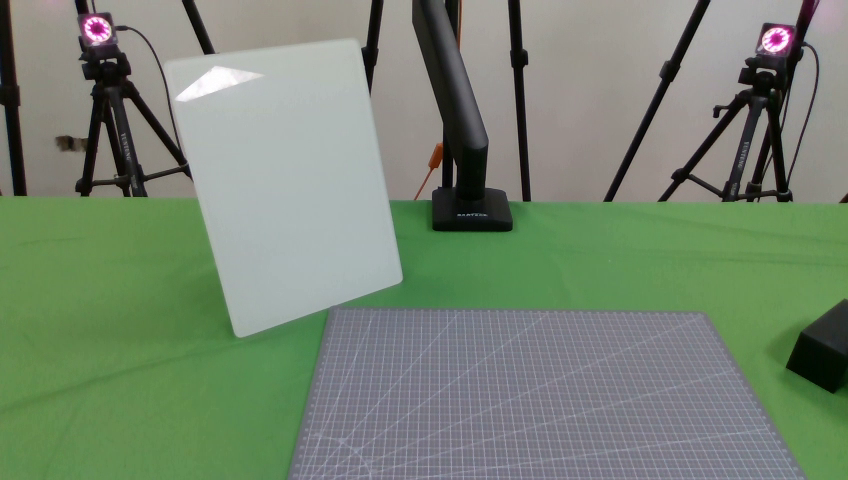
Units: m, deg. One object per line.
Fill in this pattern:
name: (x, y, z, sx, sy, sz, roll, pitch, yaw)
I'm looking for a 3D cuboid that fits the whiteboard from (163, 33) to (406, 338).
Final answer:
whiteboard: (-0.174, -0.074, 0.743, 0.218, 0.307, 0.143, -18, 17, -27)
